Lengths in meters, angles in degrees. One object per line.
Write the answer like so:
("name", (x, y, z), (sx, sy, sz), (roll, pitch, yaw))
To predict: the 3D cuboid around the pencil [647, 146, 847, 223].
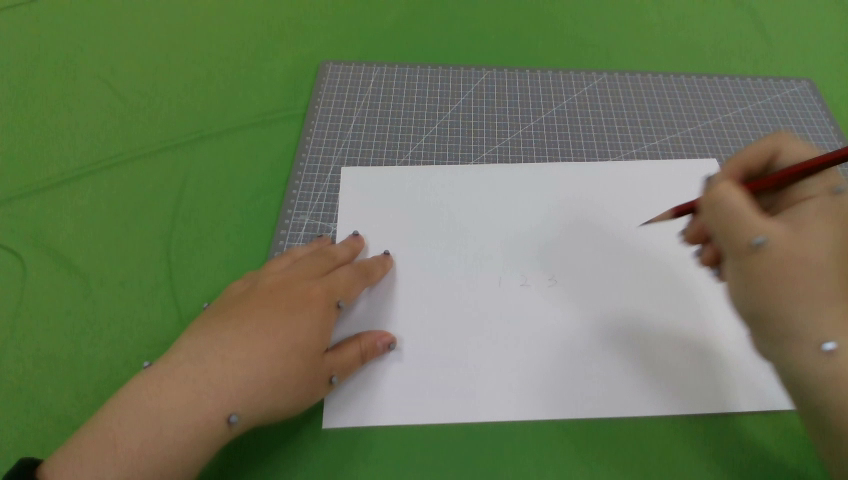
("pencil", (0.196, -0.039, 0.285), (0.193, 0.012, 0.012), (-23, 36, 40))
